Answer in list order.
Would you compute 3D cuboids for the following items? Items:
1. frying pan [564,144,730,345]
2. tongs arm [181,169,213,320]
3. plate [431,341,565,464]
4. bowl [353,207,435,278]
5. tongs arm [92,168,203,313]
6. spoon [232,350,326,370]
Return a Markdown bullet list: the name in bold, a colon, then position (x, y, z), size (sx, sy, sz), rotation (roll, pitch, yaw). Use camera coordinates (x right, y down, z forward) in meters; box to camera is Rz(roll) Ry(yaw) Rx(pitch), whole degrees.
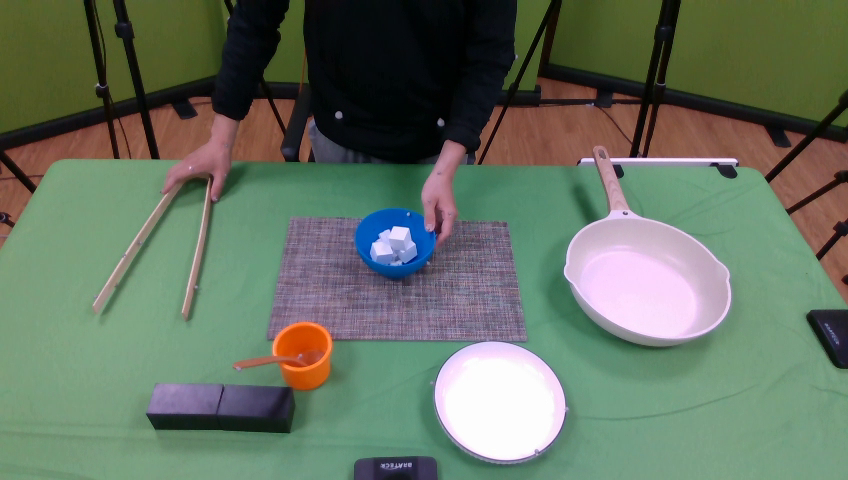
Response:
- **frying pan**: position (0.396, -0.008, 1.179), size (0.307, 0.103, 0.484), rotation (0, 55, -5)
- **tongs arm**: position (-0.437, -0.006, 1.165), size (0.028, 0.028, 0.385), rotation (-5, 46, -5)
- **plate**: position (0.114, 0.255, 0.951), size (0.208, 0.039, 0.206), rotation (3, 46, -2)
- **bowl**: position (-0.056, 0.018, 1.131), size (0.151, 0.077, 0.150), rotation (2, 46, -1)
- **tongs arm**: position (-0.517, -0.013, 1.160), size (0.051, 0.026, 0.382), rotation (7, 45, 1)
- **spoon**: position (-0.216, 0.182, 0.919), size (0.041, 0.194, 0.021), rotation (43, 102, 27)
